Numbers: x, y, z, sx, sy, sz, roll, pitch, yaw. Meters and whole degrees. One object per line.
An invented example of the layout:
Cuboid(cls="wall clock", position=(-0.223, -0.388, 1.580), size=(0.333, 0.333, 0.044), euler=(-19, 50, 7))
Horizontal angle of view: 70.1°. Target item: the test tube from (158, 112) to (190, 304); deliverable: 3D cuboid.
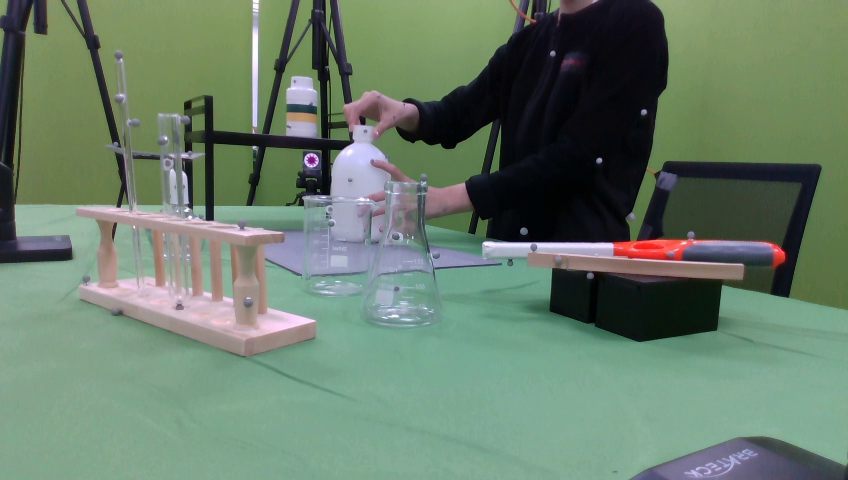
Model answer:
Cuboid(cls="test tube", position=(-0.194, -0.022, 0.469), size=(0.017, 0.150, 0.017), euler=(2, 12, 0))

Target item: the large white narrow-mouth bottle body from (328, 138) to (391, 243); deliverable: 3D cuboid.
Cuboid(cls="large white narrow-mouth bottle body", position=(-0.107, -0.096, 1.026), size=(0.102, 0.194, 0.102), euler=(4, 7, 0))

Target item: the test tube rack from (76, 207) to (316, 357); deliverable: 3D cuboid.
Cuboid(cls="test tube rack", position=(-0.196, 0.023, 0.499), size=(0.241, 0.085, 0.067), euler=(8, 9, 36))

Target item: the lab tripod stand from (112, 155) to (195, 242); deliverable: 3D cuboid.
Cuboid(cls="lab tripod stand", position=(-0.405, -0.064, 0.931), size=(0.148, 0.131, 0.148), euler=(1, 7, 0))

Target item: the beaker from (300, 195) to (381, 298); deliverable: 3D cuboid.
Cuboid(cls="beaker", position=(-0.087, 0.006, 0.626), size=(0.084, 0.100, 0.074), euler=(1, 8, -17))

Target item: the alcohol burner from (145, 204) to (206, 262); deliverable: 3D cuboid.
Cuboid(cls="alcohol burner", position=(-0.321, -0.032, 0.788), size=(0.078, 0.119, 0.078), euler=(0, 7, 0))

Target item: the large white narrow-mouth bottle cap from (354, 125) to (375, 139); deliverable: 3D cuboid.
Cuboid(cls="large white narrow-mouth bottle cap", position=(-0.099, -0.181, 1.016), size=(0.038, 0.024, 0.037), euler=(4, 7, 0))

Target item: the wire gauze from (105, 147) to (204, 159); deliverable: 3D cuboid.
Cuboid(cls="wire gauze", position=(-0.407, -0.131, 0.929), size=(0.125, 0.011, 0.121), euler=(2, 6, -11))

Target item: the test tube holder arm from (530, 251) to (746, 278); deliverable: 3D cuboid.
Cuboid(cls="test tube holder arm", position=(0.182, 0.022, 0.523), size=(0.178, 0.015, 0.013), euler=(3, 6, 12))

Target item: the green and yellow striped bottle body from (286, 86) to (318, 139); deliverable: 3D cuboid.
Cuboid(cls="green and yellow striped bottle body", position=(-0.251, -0.270, 1.245), size=(0.063, 0.119, 0.063), euler=(2, 7, 0))

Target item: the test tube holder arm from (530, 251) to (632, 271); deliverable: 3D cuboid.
Cuboid(cls="test tube holder arm", position=(0.139, 0.019, 0.538), size=(0.087, 0.015, 0.010), euler=(3, 6, 13))

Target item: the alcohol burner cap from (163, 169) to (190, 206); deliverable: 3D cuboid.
Cuboid(cls="alcohol burner cap", position=(-0.320, -0.067, 0.782), size=(0.034, 0.048, 0.034), euler=(1, 7, 0))

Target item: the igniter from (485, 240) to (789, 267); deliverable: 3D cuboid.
Cuboid(cls="igniter", position=(0.197, 0.012, 0.585), size=(0.276, 0.025, 0.057), euler=(1, 5, 12))

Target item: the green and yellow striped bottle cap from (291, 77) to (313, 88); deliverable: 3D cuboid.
Cuboid(cls="green and yellow striped bottle cap", position=(-0.250, -0.321, 1.238), size=(0.045, 0.020, 0.045), euler=(3, 6, 0))

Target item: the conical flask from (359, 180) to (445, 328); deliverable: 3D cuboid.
Cuboid(cls="conical flask", position=(-0.017, 0.010, 0.522), size=(0.075, 0.122, 0.075), euler=(2, 7, 0))

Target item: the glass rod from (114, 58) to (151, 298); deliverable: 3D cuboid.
Cuboid(cls="glass rod", position=(-0.236, -0.044, 0.492), size=(0.008, 0.199, 0.008), euler=(0, 15, 0))
